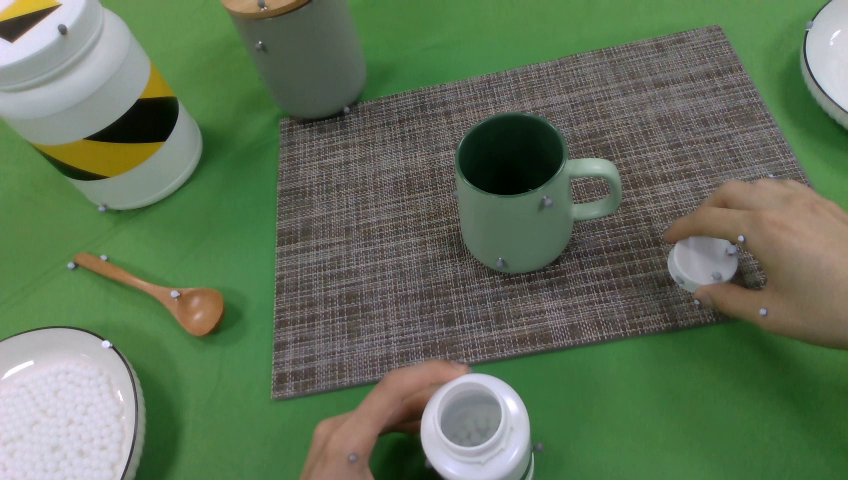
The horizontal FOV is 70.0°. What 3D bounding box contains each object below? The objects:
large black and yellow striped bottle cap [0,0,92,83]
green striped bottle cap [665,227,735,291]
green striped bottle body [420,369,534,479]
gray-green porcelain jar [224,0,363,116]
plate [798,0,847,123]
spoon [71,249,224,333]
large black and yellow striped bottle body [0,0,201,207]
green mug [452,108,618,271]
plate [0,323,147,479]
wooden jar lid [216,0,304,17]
[{"bbox_3d":[-0.322,-0.171,0.483,0.115,0.019,0.114,-5,57,8],"label":"large black and yellow striped bottle cap"},{"bbox_3d":[0.197,0.013,0.433,0.044,0.020,0.044,-4,61,7],"label":"green striped bottle cap"},{"bbox_3d":[0.034,0.121,0.373,0.063,0.120,0.062,-5,59,9],"label":"green striped bottle body"},{"bbox_3d":[-0.121,-0.194,0.589,0.106,0.128,0.105,-6,54,8],"label":"gray-green porcelain jar"},{"bbox_3d":[0.426,-0.149,0.507,0.207,0.039,0.205,-5,58,9],"label":"plate"},{"bbox_3d":[-0.250,0.037,0.538,0.192,0.022,0.041,18,83,20],"label":"spoon"},{"bbox_3d":[-0.307,-0.130,0.554,0.130,0.186,0.129,-5,59,8],"label":"large black and yellow striped bottle body"},{"bbox_3d":[0.084,-0.037,0.464,0.125,0.106,0.091,-3,58,9],"label":"green mug"},{"bbox_3d":[-0.306,0.165,0.463,0.209,0.038,0.207,-5,58,8],"label":"plate"},{"bbox_3d":[-0.132,-0.231,0.538,0.108,0.021,0.107,-7,57,11],"label":"wooden jar lid"}]
